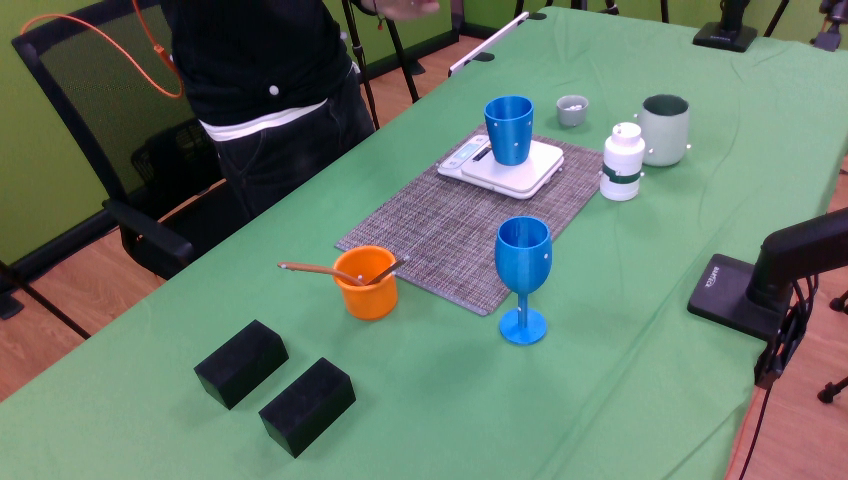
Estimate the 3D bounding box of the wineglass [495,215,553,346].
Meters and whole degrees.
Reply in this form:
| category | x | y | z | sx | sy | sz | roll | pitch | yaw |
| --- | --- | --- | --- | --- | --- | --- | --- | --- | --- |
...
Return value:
| category | x | y | z | sx | sy | sz | roll | pitch | yaw |
| --- | --- | --- | --- | --- | --- | --- | --- | --- | --- |
| wineglass | 0.127 | 0.054 | 0.770 | 0.074 | 0.173 | 0.073 | -4 | 40 | 4 |

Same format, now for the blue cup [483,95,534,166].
| category | x | y | z | sx | sy | sz | roll | pitch | yaw |
| --- | --- | --- | --- | --- | --- | --- | --- | --- | --- |
| blue cup | 0.150 | -0.187 | 1.051 | 0.092 | 0.101 | 0.092 | -6 | 41 | 6 |

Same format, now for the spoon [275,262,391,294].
| category | x | y | z | sx | sy | sz | roll | pitch | yaw |
| --- | --- | --- | --- | --- | --- | --- | --- | --- | --- |
| spoon | -0.120 | 0.050 | 0.830 | 0.041 | 0.195 | 0.021 | 32 | 97 | 45 |

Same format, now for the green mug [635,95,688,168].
| category | x | y | z | sx | sy | sz | roll | pitch | yaw |
| --- | --- | --- | --- | --- | --- | --- | --- | --- | --- |
| green mug | 0.421 | -0.201 | 1.081 | 0.092 | 0.105 | 0.125 | 5 | 42 | 15 |

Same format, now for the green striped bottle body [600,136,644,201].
| category | x | y | z | sx | sy | sz | roll | pitch | yaw |
| --- | --- | --- | --- | --- | --- | --- | --- | --- | --- |
| green striped bottle body | 0.326 | -0.128 | 0.997 | 0.063 | 0.120 | 0.063 | -4 | 41 | 4 |

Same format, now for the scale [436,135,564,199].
| category | x | y | z | sx | sy | sz | roll | pitch | yaw |
| --- | --- | --- | --- | --- | --- | --- | --- | --- | --- |
| scale | 0.137 | -0.142 | 1.101 | 0.199 | 0.032 | 0.149 | 22 | 48 | 30 |

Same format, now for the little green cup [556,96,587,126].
| category | x | y | z | sx | sy | sz | roll | pitch | yaw |
| --- | --- | --- | --- | --- | --- | --- | --- | --- | --- |
| little green cup | 0.295 | -0.258 | 1.214 | 0.061 | 0.039 | 0.061 | -4 | 42 | 4 |

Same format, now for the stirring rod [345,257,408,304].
| category | x | y | z | sx | sy | sz | roll | pitch | yaw |
| --- | --- | --- | --- | --- | --- | --- | --- | --- | --- |
| stirring rod | -0.067 | 0.057 | 0.815 | 0.014 | 0.175 | 0.006 | -24 | 82 | -38 |

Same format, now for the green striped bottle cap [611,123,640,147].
| category | x | y | z | sx | sy | sz | roll | pitch | yaw |
| --- | --- | --- | --- | --- | --- | --- | --- | --- | --- |
| green striped bottle cap | 0.322 | -0.168 | 0.963 | 0.044 | 0.020 | 0.044 | -3 | 42 | 3 |
